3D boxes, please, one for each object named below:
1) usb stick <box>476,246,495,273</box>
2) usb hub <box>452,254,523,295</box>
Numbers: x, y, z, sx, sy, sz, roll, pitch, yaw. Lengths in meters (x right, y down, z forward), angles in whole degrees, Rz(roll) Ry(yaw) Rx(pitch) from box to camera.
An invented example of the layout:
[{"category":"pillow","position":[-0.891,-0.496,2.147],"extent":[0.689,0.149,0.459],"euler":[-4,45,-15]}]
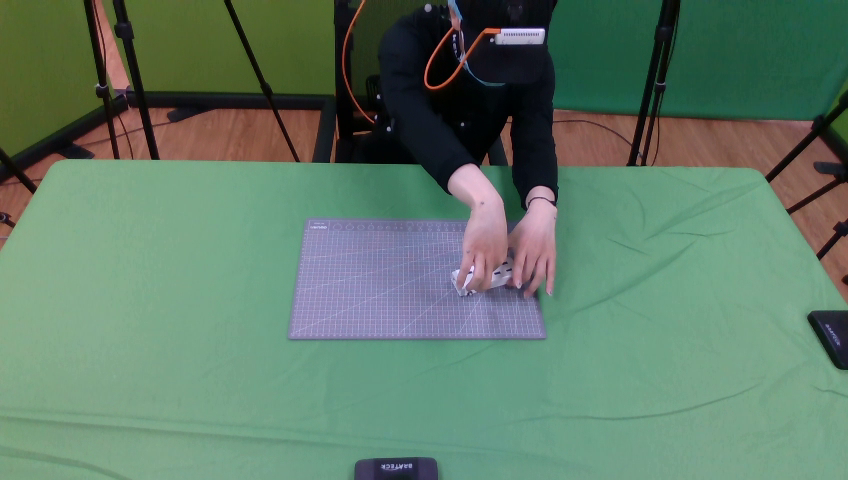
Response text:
[{"category":"usb stick","position":[0.112,0.040,1.107],"extent":[0.021,0.059,0.027],"euler":[-20,54,-20]},{"category":"usb hub","position":[0.119,0.065,1.132],"extent":[0.125,0.025,0.049],"euler":[-14,48,-15]}]
